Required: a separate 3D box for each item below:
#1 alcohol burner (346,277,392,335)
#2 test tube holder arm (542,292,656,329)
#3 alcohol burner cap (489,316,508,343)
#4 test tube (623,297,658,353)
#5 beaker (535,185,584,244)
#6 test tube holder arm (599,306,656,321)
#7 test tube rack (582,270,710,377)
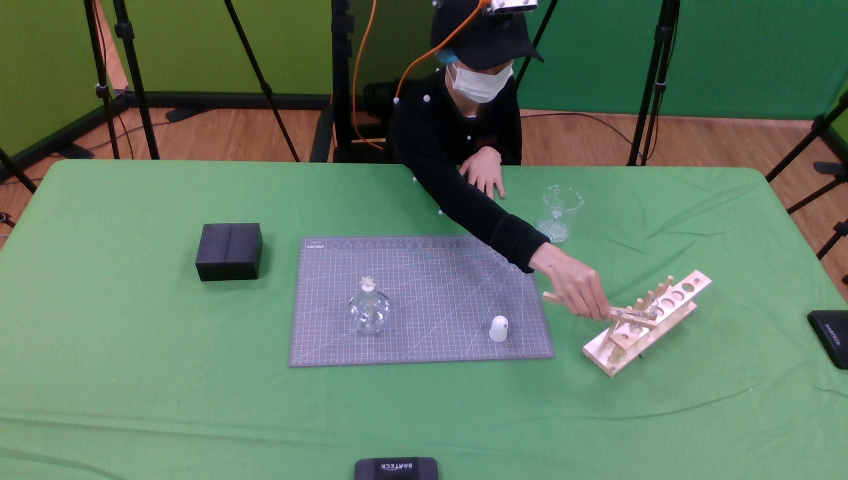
[{"bbox_3d":[-0.093,0.106,1.021,0.078,0.120,0.077,1,46,-1],"label":"alcohol burner"},{"bbox_3d":[0.278,0.112,0.969,0.178,0.015,0.013,13,48,14],"label":"test tube holder arm"},{"bbox_3d":[0.130,0.151,1.045,0.034,0.048,0.033,3,47,-3],"label":"alcohol burner cap"},{"bbox_3d":[0.343,0.140,0.976,0.017,0.151,0.017,2,50,-3],"label":"test tube"},{"bbox_3d":[0.268,-0.048,1.213,0.084,0.101,0.073,6,46,0],"label":"beaker"},{"bbox_3d":[0.322,0.116,0.963,0.088,0.015,0.010,6,48,7],"label":"test tube holder arm"},{"bbox_3d":[0.389,0.132,1.057,0.242,0.085,0.066,-28,54,-28],"label":"test tube rack"}]
